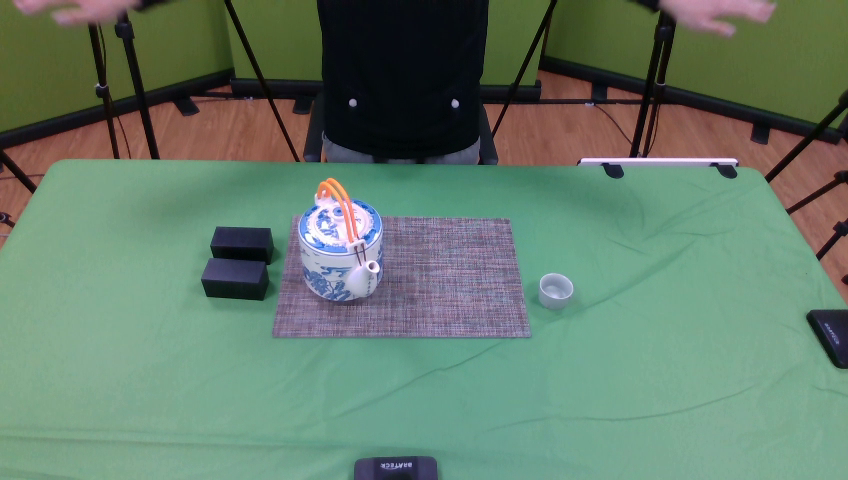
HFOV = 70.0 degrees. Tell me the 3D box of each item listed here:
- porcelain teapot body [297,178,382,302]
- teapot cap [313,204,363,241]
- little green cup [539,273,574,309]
[{"bbox_3d":[-0.129,0.012,1.032,0.145,0.226,0.204,-24,53,-25],"label":"porcelain teapot body"},{"bbox_3d":[-0.144,-0.034,1.020,0.085,0.044,0.084,2,49,-2],"label":"teapot cap"},{"bbox_3d":[0.240,0.096,1.113,0.061,0.039,0.061,2,47,-2],"label":"little green cup"}]
